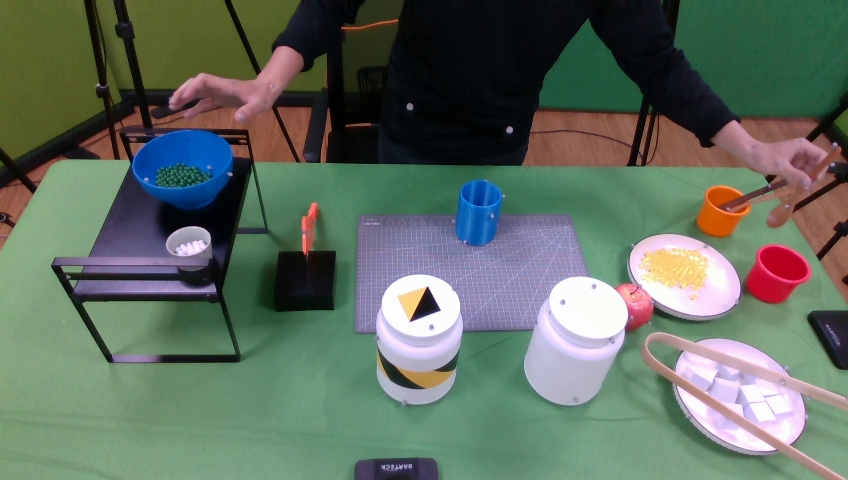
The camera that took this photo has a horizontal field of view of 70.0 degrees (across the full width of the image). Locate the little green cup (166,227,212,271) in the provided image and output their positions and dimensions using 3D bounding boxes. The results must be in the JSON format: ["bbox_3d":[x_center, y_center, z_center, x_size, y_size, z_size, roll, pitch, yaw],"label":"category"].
[{"bbox_3d":[-0.344,0.014,0.895,0.061,0.039,0.061,3,46,-3],"label":"little green cup"}]

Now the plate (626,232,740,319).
[{"bbox_3d":[0.488,0.071,1.157,0.209,0.038,0.208,3,46,-3],"label":"plate"}]

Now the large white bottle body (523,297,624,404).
[{"bbox_3d":[0.235,0.159,0.952,0.131,0.185,0.130,2,47,-2],"label":"large white bottle body"}]

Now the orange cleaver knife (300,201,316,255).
[{"bbox_3d":[-0.221,-0.027,1.160,0.012,0.077,0.210,-1,15,-4],"label":"orange cleaver knife"}]

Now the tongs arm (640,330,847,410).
[{"bbox_3d":[0.543,0.225,0.969,0.384,0.026,0.050,22,52,13],"label":"tongs arm"}]

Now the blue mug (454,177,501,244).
[{"bbox_3d":[0.106,-0.067,1.208,0.082,0.106,0.116,6,46,1],"label":"blue mug"}]

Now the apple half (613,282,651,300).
[{"bbox_3d":[0.356,0.109,1.086,0.081,0.075,0.053,-13,44,-12],"label":"apple half"}]

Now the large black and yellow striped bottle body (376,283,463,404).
[{"bbox_3d":[-0.010,0.155,0.937,0.131,0.185,0.130,2,47,-2],"label":"large black and yellow striped bottle body"}]

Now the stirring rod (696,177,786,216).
[{"bbox_3d":[0.648,-0.087,1.244,0.176,0.006,0.014,-25,50,29],"label":"stirring rod"}]

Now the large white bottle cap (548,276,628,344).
[{"bbox_3d":[0.240,0.100,0.890,0.115,0.018,0.114,3,47,-3],"label":"large white bottle cap"}]

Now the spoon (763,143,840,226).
[{"bbox_3d":[0.636,-0.091,1.026,0.021,0.194,0.041,4,53,-3],"label":"spoon"}]

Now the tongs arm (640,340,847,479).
[{"bbox_3d":[0.500,0.277,0.919,0.386,0.028,0.028,34,59,22],"label":"tongs arm"}]

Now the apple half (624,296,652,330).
[{"bbox_3d":[0.368,0.135,1.060,0.081,0.081,0.032,-11,43,-15],"label":"apple half"}]

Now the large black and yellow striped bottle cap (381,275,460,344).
[{"bbox_3d":[-0.005,0.098,0.875,0.115,0.019,0.114,2,45,-2],"label":"large black and yellow striped bottle cap"}]

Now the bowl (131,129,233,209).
[{"bbox_3d":[-0.381,-0.103,0.978,0.151,0.077,0.150,2,46,-2],"label":"bowl"}]

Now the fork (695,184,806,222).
[{"bbox_3d":[0.658,-0.074,1.229,0.207,0.019,0.028,-24,33,36],"label":"fork"}]

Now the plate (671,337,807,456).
[{"bbox_3d":[0.504,0.254,0.984,0.208,0.039,0.206,2,46,-2],"label":"plate"}]
